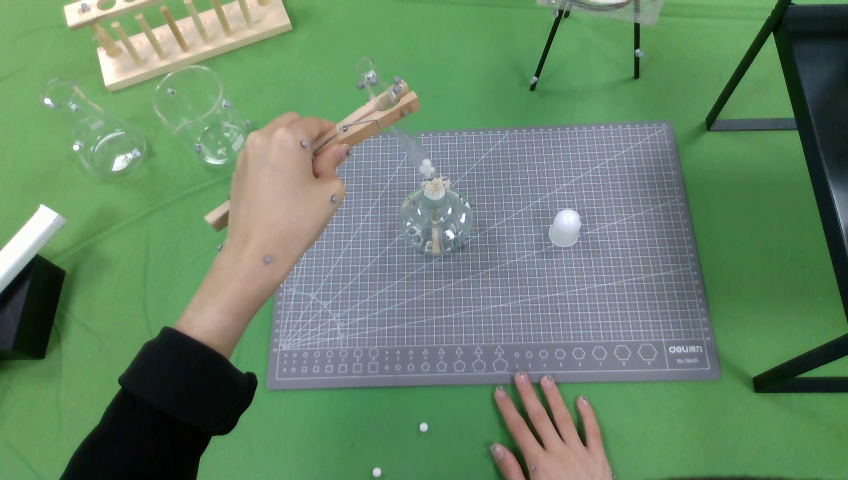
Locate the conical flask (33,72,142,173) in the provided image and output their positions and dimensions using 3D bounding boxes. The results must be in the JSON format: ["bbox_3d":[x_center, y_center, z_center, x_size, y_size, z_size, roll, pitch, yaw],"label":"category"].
[{"bbox_3d":[-0.375,-0.133,0.670,0.075,0.123,0.075,-1,67,3],"label":"conical flask"}]

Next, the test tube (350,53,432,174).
[{"bbox_3d":[-0.021,-0.094,0.482,0.017,0.152,0.017,-7,64,16],"label":"test tube"}]

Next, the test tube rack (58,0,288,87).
[{"bbox_3d":[-0.301,-0.279,0.746,0.242,0.086,0.066,-21,68,-6],"label":"test tube rack"}]

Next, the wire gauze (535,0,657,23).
[{"bbox_3d":[0.188,-0.282,0.626,0.121,0.011,0.124,19,71,8],"label":"wire gauze"}]

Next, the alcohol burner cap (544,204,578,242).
[{"bbox_3d":[0.146,-0.021,0.641,0.034,0.048,0.033,-1,67,2],"label":"alcohol burner cap"}]

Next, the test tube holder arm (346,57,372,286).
[{"bbox_3d":[-0.052,-0.052,0.478,0.015,0.013,0.178,0,96,-21],"label":"test tube holder arm"}]

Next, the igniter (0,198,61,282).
[{"bbox_3d":[-0.464,0.074,0.590,0.057,0.025,0.275,25,70,22],"label":"igniter"}]

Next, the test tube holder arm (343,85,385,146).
[{"bbox_3d":[-0.047,-0.090,0.464,0.015,0.088,0.010,3,69,-18],"label":"test tube holder arm"}]

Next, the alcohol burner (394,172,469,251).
[{"bbox_3d":[0.007,-0.034,0.614,0.078,0.120,0.077,0,66,1],"label":"alcohol burner"}]

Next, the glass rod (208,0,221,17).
[{"bbox_3d":[-0.281,-0.338,0.697,0.008,0.201,0.008,-4,61,8],"label":"glass rod"}]

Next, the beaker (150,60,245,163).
[{"bbox_3d":[-0.249,-0.137,0.679,0.074,0.101,0.083,13,69,9],"label":"beaker"}]

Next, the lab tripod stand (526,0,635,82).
[{"bbox_3d":[0.184,-0.254,0.688,0.148,0.132,0.147,0,67,1],"label":"lab tripod stand"}]
